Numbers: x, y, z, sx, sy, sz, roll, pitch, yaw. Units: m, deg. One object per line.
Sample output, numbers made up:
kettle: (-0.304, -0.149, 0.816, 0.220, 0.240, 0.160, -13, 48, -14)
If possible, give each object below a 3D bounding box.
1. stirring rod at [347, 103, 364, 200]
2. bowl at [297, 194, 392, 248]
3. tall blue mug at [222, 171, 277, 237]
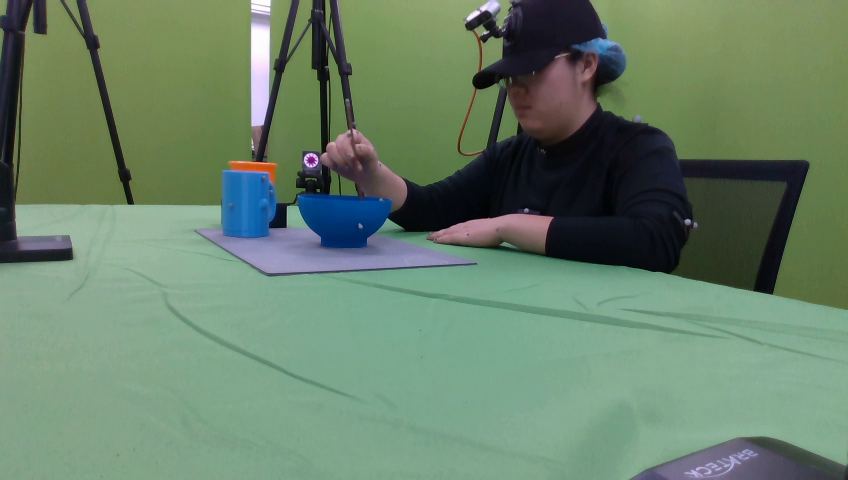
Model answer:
stirring rod: (-0.106, -0.128, 0.955, 0.006, 0.176, 0.014, -9, 5, -10)
bowl: (-0.127, -0.030, 0.964, 0.151, 0.077, 0.151, 2, 7, 0)
tall blue mug: (-0.303, -0.064, 1.043, 0.078, 0.108, 0.107, 1, 7, -4)
